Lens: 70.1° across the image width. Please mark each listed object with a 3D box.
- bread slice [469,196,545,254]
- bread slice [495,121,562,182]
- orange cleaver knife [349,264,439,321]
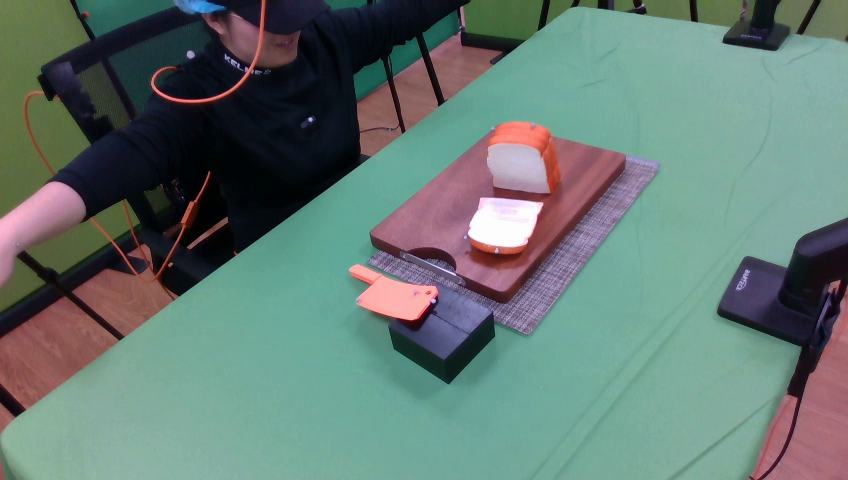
[{"bbox_3d":[0.124,-0.024,0.943,0.104,0.019,0.131,8,39,18],"label":"bread slice"},{"bbox_3d":[0.170,-0.143,0.997,0.106,0.135,0.018,10,61,21],"label":"bread slice"},{"bbox_3d":[-0.061,0.073,0.877,0.077,0.012,0.209,-39,32,-27],"label":"orange cleaver knife"}]
